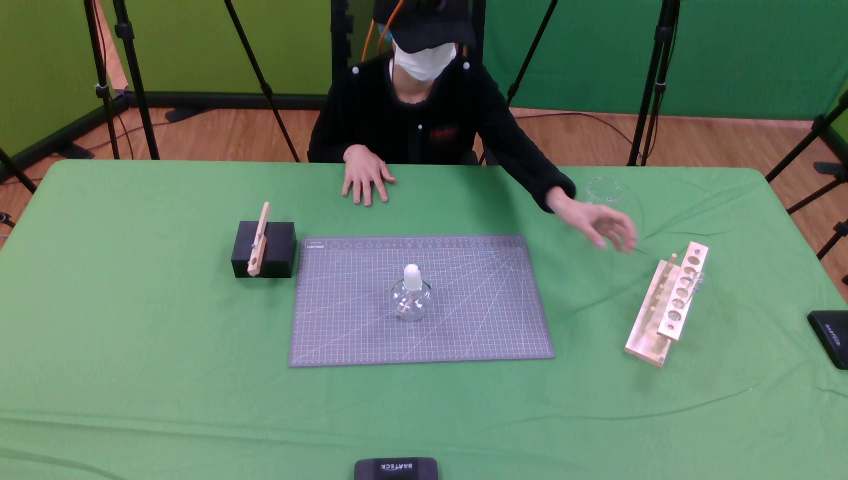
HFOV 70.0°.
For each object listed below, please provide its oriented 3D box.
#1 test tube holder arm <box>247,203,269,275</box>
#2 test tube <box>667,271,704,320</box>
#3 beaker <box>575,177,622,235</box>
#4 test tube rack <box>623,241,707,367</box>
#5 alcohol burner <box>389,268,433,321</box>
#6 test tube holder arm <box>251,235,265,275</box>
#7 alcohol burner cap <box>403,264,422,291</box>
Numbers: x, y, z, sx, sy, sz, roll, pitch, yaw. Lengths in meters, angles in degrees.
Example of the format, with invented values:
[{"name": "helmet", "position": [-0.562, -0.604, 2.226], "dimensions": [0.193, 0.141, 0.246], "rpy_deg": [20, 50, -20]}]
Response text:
[{"name": "test tube holder arm", "position": [-0.304, -0.006, 1.116], "dimensions": [0.013, 0.015, 0.177], "rpy_deg": [-5, 45, 1]}, {"name": "test tube", "position": [0.432, 0.104, 1.019], "dimensions": [0.017, 0.151, 0.017], "rpy_deg": [3, 48, -3]}, {"name": "beaker", "position": [0.356, -0.068, 1.239], "dimensions": [0.084, 0.101, 0.073], "rpy_deg": [-18, 50, -21]}, {"name": "test tube rack", "position": [0.435, 0.104, 1.089], "dimensions": [0.066, 0.085, 0.242], "rpy_deg": [24, 49, 18]}, {"name": "alcohol burner", "position": [-0.023, 0.085, 1.046], "dimensions": [0.078, 0.119, 0.077], "rpy_deg": [2, 48, -2]}, {"name": "test tube holder arm", "position": [-0.297, 0.025, 1.085], "dimensions": [0.010, 0.015, 0.087], "rpy_deg": [-5, 45, 2]}, {"name": "alcohol burner cap", "position": [-0.021, 0.060, 1.021], "dimensions": [0.034, 0.048, 0.033], "rpy_deg": [-2, 47, 2]}]
